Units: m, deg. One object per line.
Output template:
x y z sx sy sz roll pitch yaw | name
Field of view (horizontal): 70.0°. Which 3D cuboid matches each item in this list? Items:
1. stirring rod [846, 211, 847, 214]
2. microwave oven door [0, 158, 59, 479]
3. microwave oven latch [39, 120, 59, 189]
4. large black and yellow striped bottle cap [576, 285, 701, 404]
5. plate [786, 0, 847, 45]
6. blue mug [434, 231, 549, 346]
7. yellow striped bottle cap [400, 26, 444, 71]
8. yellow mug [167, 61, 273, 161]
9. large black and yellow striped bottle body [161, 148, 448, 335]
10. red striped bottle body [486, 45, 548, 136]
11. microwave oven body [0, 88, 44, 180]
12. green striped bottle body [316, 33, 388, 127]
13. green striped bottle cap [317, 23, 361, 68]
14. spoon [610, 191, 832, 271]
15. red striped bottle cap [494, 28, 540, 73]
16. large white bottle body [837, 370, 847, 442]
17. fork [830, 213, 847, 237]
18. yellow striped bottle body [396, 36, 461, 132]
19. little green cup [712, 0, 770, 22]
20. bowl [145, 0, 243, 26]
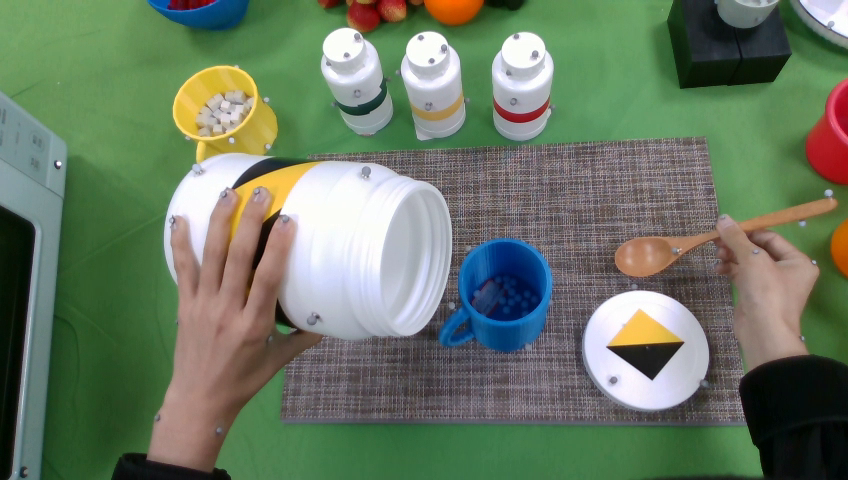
0.423 0.010 0.531 0.014 0.006 0.175 1 26 5 | stirring rod
-0.433 0.068 0.539 0.039 0.245 0.353 -11 69 4 | microwave oven door
-0.450 -0.098 0.712 0.030 0.030 0.078 -9 70 3 | microwave oven latch
0.206 0.100 0.585 0.115 0.019 0.114 -2 68 5 | large black and yellow striped bottle cap
0.509 -0.299 0.688 0.209 0.038 0.207 -2 70 6 | plate
0.059 0.058 0.570 0.116 0.106 0.081 -34 68 -6 | blue mug
-0.002 -0.194 0.612 0.044 0.019 0.044 -1 66 2 | yellow striped bottle cap
-0.240 -0.135 0.704 0.100 0.064 0.130 8 71 10 | yellow mug
-0.086 -0.001 0.459 0.183 0.132 0.130 8 70 26 | large black and yellow striped bottle body
0.099 -0.168 0.647 0.063 0.120 0.062 -2 68 6 | red striped bottle body
-0.582 0.056 0.567 0.326 0.262 0.438 -10 69 3 | microwave oven body
-0.080 -0.183 0.674 0.063 0.120 0.062 -2 69 6 | green striped bottle body
-0.088 -0.201 0.625 0.044 0.020 0.044 -2 68 5 | green striped bottle cap
0.271 -0.010 0.567 0.193 0.022 0.041 -20 61 31 | spoon
0.092 -0.188 0.597 0.044 0.018 0.044 -1 68 3 | red striped bottle cap
0.426 0.129 0.460 0.130 0.186 0.129 -2 69 7 | large white bottle body
0.451 0.011 0.519 0.028 0.019 0.205 -28 24 -12 | fork
0.005 -0.175 0.660 0.063 0.121 0.062 -2 68 7 | yellow striped bottle body
0.339 -0.264 0.642 0.061 0.039 0.061 -2 68 5 | little green cup
-0.283 -0.332 0.777 0.151 0.077 0.150 -2 69 6 | bowl
